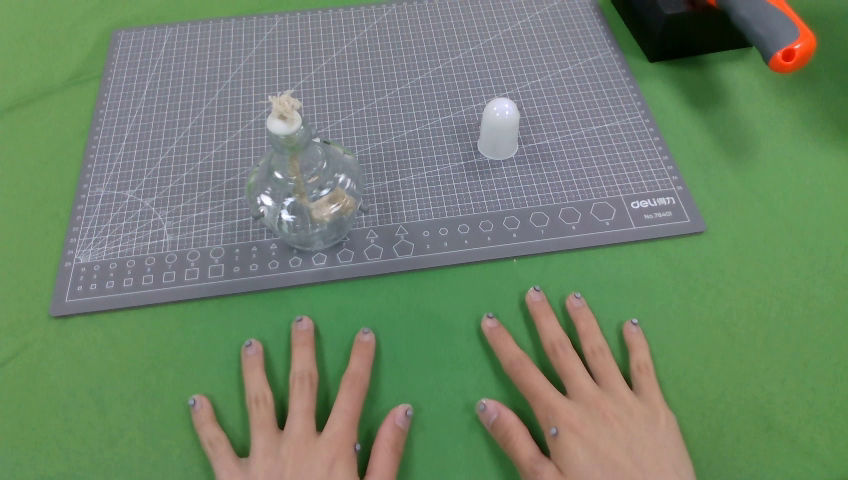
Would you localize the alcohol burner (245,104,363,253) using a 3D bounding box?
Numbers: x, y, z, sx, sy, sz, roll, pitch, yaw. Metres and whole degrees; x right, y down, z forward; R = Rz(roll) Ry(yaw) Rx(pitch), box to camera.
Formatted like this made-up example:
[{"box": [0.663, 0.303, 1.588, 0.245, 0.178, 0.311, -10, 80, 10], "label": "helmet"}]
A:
[{"box": [-0.080, -0.044, 0.390, 0.078, 0.120, 0.077, -1, 58, 1], "label": "alcohol burner"}]

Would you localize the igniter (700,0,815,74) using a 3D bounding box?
[{"box": [0.241, -0.231, 0.510, 0.057, 0.025, 0.273, -12, 55, -4], "label": "igniter"}]

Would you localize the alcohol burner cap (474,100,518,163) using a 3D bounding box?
[{"box": [0.056, -0.085, 0.459, 0.034, 0.048, 0.033, 1, 55, -1], "label": "alcohol burner cap"}]
